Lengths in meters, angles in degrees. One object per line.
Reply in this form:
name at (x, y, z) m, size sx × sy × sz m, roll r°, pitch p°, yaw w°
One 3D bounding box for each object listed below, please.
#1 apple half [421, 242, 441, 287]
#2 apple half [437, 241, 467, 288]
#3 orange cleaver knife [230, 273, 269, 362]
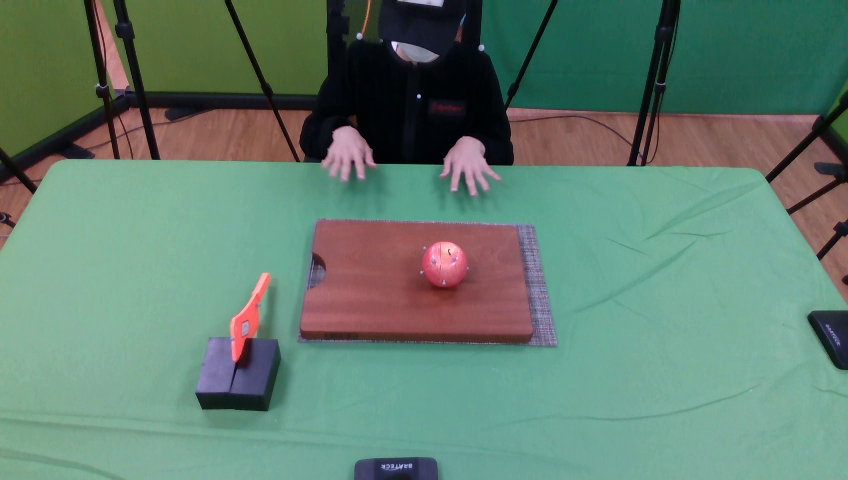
apple half at (0.010, 0.045, 1.079) m, size 0.033 × 0.081 × 0.081 m, roll 3°, pitch 45°, yaw -6°
apple half at (0.049, 0.047, 1.083) m, size 0.053 × 0.075 × 0.080 m, roll 3°, pitch 41°, yaw -6°
orange cleaver knife at (-0.290, 0.124, 1.014) m, size 0.012 × 0.077 × 0.210 m, roll 1°, pitch 23°, yaw 1°
